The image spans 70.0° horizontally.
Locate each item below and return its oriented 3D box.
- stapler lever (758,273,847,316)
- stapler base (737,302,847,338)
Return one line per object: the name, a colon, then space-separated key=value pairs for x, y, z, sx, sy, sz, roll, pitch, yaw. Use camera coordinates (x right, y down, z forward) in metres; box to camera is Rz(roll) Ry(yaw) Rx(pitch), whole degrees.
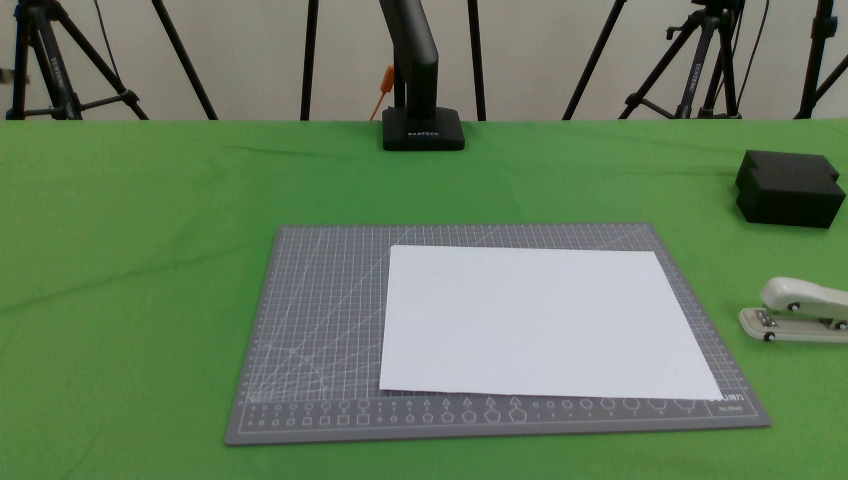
stapler lever: x=0.384 y=0.055 z=0.585 sx=0.118 sy=0.040 sz=0.026 roll=2 pitch=40 yaw=-1
stapler base: x=0.381 y=0.074 z=0.599 sx=0.130 sy=0.024 sz=0.041 roll=3 pitch=40 yaw=-2
